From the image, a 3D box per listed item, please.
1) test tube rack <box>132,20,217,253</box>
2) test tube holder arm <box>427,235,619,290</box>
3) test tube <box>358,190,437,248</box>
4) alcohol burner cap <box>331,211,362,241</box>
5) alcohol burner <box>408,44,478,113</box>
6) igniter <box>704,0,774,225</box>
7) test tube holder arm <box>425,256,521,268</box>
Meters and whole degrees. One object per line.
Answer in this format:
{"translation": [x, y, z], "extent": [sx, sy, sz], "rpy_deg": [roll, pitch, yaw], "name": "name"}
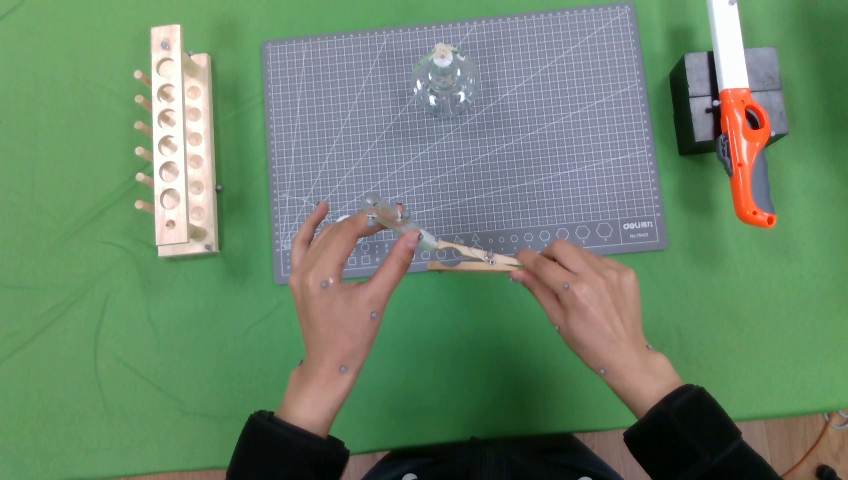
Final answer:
{"translation": [-0.288, -0.112, 0.685], "extent": [0.067, 0.085, 0.241], "rpy_deg": [-5, 82, 2], "name": "test tube rack"}
{"translation": [0.090, 0.021, 0.554], "extent": [0.178, 0.015, 0.013], "rpy_deg": [12, 85, 3], "name": "test tube holder arm"}
{"translation": [-0.016, -0.013, 0.465], "extent": [0.017, 0.151, 0.017], "rpy_deg": [-3, 79, 16], "name": "test tube"}
{"translation": [-0.089, -0.018, 0.682], "extent": [0.034, 0.048, 0.034], "rpy_deg": [0, 82, 1], "name": "alcohol burner cap"}
{"translation": [0.020, -0.184, 0.662], "extent": [0.078, 0.119, 0.077], "rpy_deg": [-1, 83, 5], "name": "alcohol burner"}
{"translation": [0.329, -0.150, 0.641], "extent": [0.057, 0.025, 0.275], "rpy_deg": [-3, 80, 0], "name": "igniter"}
{"translation": [0.045, 0.020, 0.556], "extent": [0.088, 0.015, 0.010], "rpy_deg": [-1, 83, 2], "name": "test tube holder arm"}
